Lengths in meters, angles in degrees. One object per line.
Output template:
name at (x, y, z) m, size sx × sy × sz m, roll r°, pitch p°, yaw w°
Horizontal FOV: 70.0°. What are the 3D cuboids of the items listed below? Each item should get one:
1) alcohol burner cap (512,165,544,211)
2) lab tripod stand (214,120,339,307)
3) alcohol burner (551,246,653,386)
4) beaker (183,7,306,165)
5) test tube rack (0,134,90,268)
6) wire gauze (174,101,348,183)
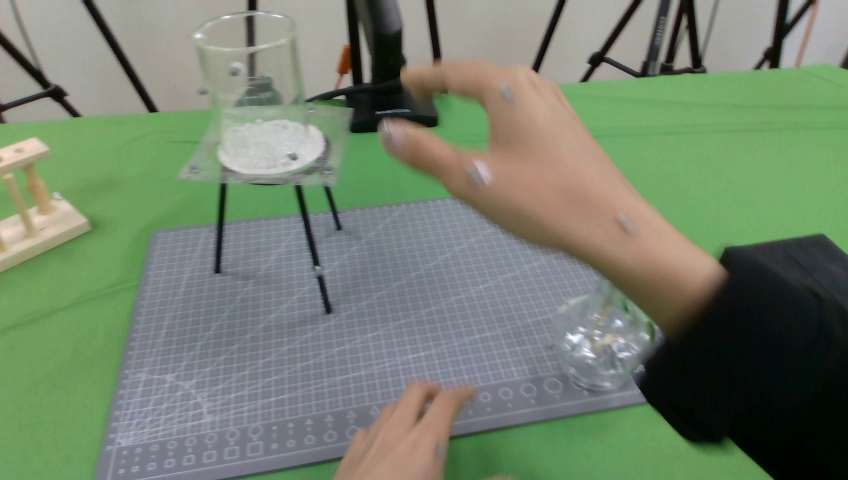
alcohol burner cap at (0.113, -0.059, 0.654) m, size 0.034 × 0.048 × 0.033 m, roll 1°, pitch 39°, yaw 0°
lab tripod stand at (-0.127, -0.027, 0.538) m, size 0.148 × 0.132 × 0.147 m, roll 0°, pitch 41°, yaw 1°
alcohol burner at (0.138, 0.054, 0.460) m, size 0.078 × 0.120 × 0.077 m, roll 0°, pitch 38°, yaw 0°
beaker at (-0.134, -0.116, 0.466) m, size 0.084 × 0.101 × 0.073 m, roll 4°, pitch 40°, yaw 5°
test tube rack at (-0.450, -0.004, 0.548) m, size 0.066 × 0.086 × 0.242 m, roll 30°, pitch 48°, yaw 31°
wire gauze at (-0.130, -0.083, 0.503) m, size 0.125 × 0.011 × 0.120 m, roll -1°, pitch 39°, yaw 3°
